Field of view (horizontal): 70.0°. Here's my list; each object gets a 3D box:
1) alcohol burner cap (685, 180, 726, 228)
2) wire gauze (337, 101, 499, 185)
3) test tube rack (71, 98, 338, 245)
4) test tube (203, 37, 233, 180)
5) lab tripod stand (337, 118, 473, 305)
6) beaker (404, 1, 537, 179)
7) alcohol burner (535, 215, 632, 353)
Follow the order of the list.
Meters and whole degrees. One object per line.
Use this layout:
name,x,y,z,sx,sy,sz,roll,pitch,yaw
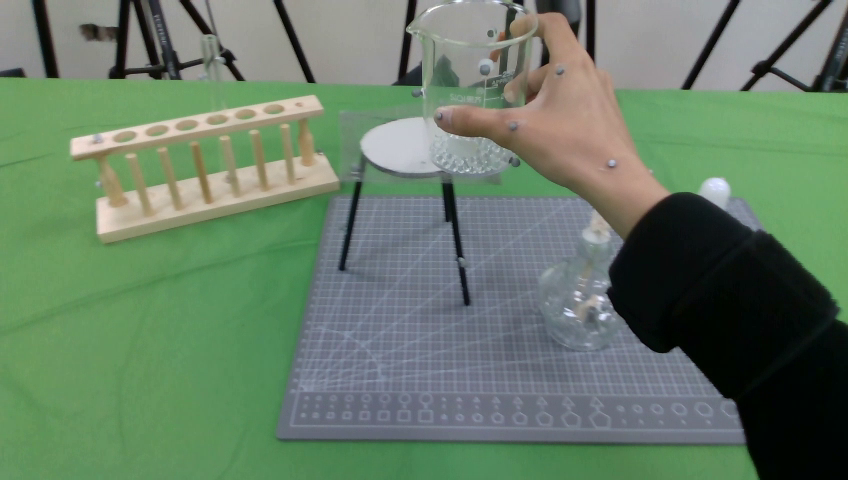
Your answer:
alcohol burner cap,0.291,-0.039,0.622,0.034,0.048,0.033,0,40,0
wire gauze,-0.010,-0.079,0.489,0.125,0.011,0.120,-4,40,-3
test tube rack,-0.219,-0.075,0.630,0.243,0.086,0.066,-15,42,-18
test tube,-0.208,-0.129,0.617,0.017,0.151,0.017,4,34,-2
lab tripod stand,-0.009,-0.027,0.533,0.148,0.132,0.147,0,42,1
beaker,0.030,-0.099,0.412,0.084,0.101,0.073,1,41,2
alcohol burner,0.128,0.031,0.479,0.078,0.120,0.077,0,38,0
